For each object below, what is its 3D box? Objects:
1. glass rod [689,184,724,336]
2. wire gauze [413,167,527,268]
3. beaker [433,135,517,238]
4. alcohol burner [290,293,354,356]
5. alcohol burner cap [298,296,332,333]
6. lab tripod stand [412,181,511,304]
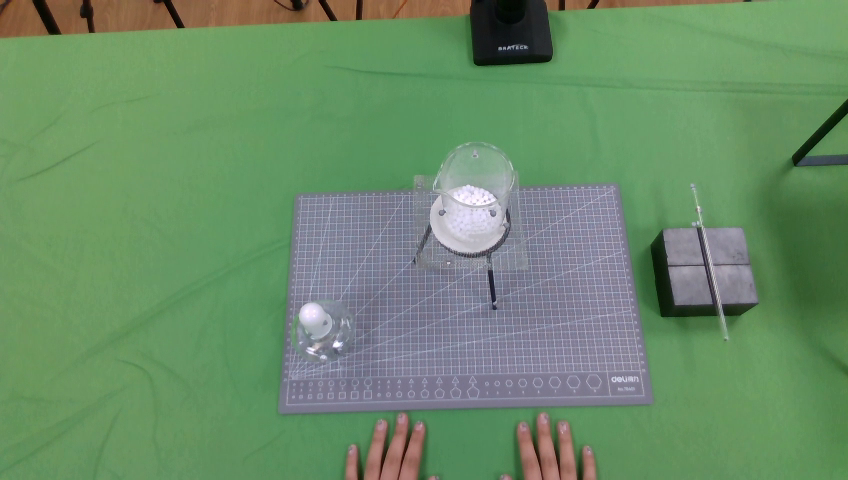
[{"bbox_3d":[0.344,0.020,0.740,0.008,0.008,0.198,-1,68,1],"label":"glass rod"},{"bbox_3d":[0.050,-0.027,0.677,0.125,0.011,0.120,0,68,-1],"label":"wire gauze"},{"bbox_3d":[0.051,-0.050,0.634,0.084,0.101,0.073,-17,68,-5],"label":"beaker"},{"bbox_3d":[-0.123,0.095,0.713,0.078,0.120,0.077,0,69,1],"label":"alcohol burner"},{"bbox_3d":[-0.125,0.082,0.680,0.034,0.048,0.033,-2,62,5],"label":"alcohol burner cap"},{"bbox_3d":[0.055,-0.006,0.739,0.148,0.132,0.147,-1,66,2],"label":"lab tripod stand"}]
